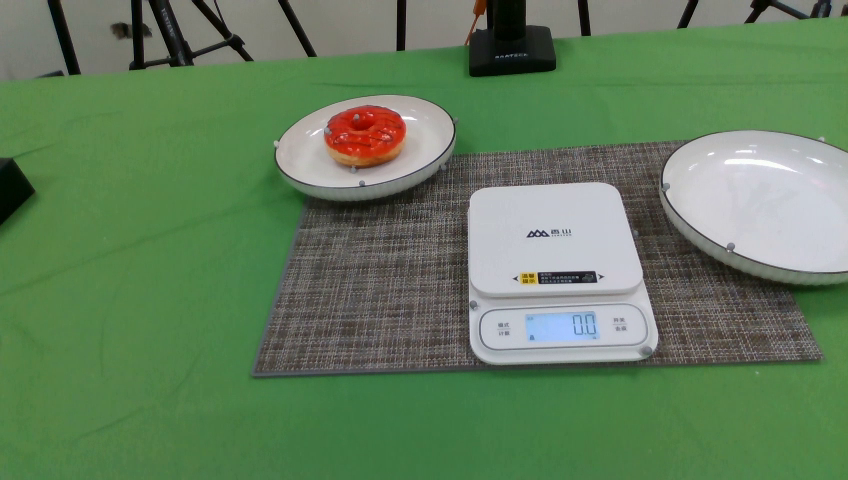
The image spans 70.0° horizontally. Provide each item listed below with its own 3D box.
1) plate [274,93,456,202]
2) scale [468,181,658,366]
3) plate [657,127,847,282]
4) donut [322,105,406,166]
[{"bbox_3d":[-0.066,-0.106,0.702,0.209,0.038,0.207,-5,40,5],"label":"plate"},{"bbox_3d":[0.114,0.021,0.539,0.148,0.032,0.199,-3,43,6],"label":"scale"},{"bbox_3d":[0.323,-0.034,0.563,0.207,0.039,0.205,-3,43,3],"label":"plate"},{"bbox_3d":[-0.069,-0.121,0.703,0.099,0.049,0.098,-4,40,3],"label":"donut"}]
